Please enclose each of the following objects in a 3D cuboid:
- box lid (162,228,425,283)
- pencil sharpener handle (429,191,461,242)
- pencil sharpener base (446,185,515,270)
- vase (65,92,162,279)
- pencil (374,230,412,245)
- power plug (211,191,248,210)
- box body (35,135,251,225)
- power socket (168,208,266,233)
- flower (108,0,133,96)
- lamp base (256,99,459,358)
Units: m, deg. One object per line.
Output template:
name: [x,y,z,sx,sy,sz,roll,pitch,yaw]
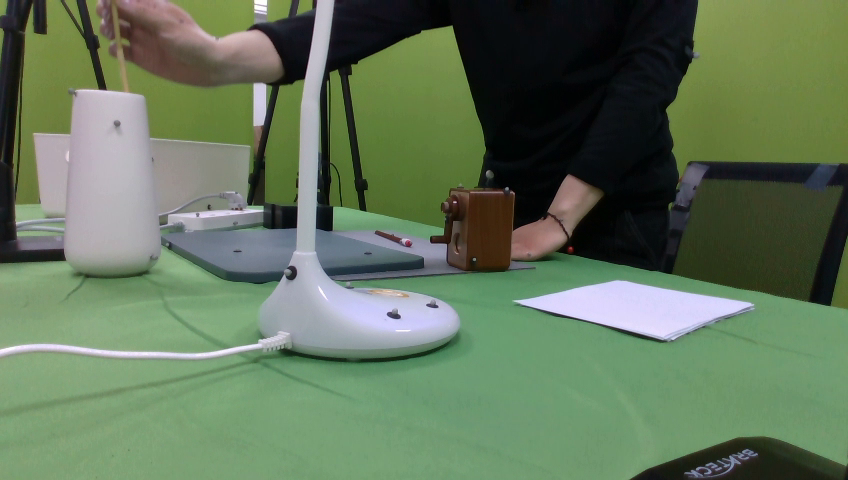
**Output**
box lid: [-0.200,0.014,0.861,0.265,0.015,0.369,-3,9,-35]
pencil sharpener handle: [0.025,-0.030,0.780,0.031,0.067,0.036,-2,16,-25]
pencil sharpener base: [0.071,-0.018,0.802,0.077,0.107,0.061,-2,9,-25]
vase: [-0.347,-0.060,0.673,0.098,0.200,0.098,1,7,0]
pencil: [-0.059,-0.007,1.061,0.012,0.012,0.193,-1,6,-22]
power plug: [-0.384,-0.071,1.205,0.072,0.052,0.035,1,8,28]
box body: [-0.559,-0.127,1.257,0.253,0.160,0.365,4,8,15]
power socket: [-0.379,-0.038,1.129,0.072,0.032,0.227,4,8,18]
flower: [-0.333,-0.239,0.651,0.044,0.361,0.038,-5,6,27]
lamp base: [-0.055,-0.013,0.463,0.160,0.180,0.180,6,11,27]
